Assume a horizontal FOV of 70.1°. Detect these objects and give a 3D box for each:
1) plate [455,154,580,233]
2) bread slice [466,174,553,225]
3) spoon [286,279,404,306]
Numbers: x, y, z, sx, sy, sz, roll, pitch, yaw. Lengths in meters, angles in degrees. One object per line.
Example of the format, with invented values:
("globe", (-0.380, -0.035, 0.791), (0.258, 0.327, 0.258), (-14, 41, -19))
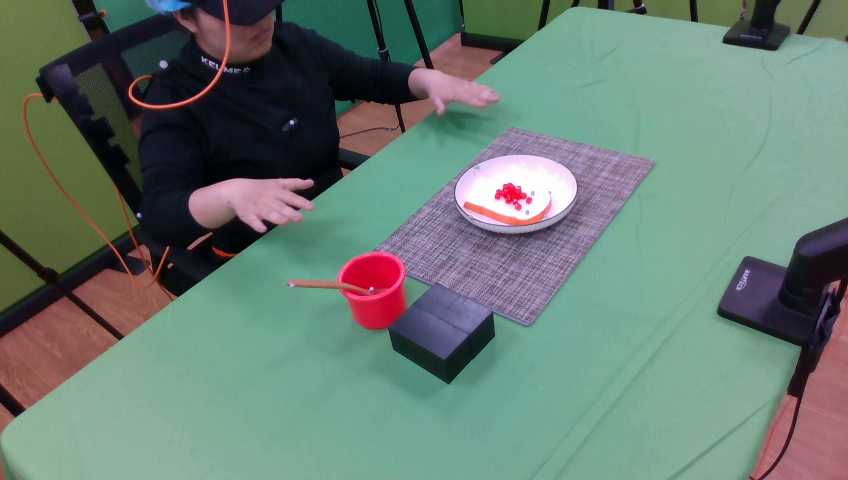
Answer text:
("plate", (0.158, -0.076, 1.028), (0.209, 0.038, 0.208), (-5, 40, 5))
("bread slice", (0.152, -0.067, 1.022), (0.130, 0.019, 0.105), (22, 50, 34))
("spoon", (-0.104, 0.068, 0.832), (0.195, 0.021, 0.041), (17, 21, -44))
